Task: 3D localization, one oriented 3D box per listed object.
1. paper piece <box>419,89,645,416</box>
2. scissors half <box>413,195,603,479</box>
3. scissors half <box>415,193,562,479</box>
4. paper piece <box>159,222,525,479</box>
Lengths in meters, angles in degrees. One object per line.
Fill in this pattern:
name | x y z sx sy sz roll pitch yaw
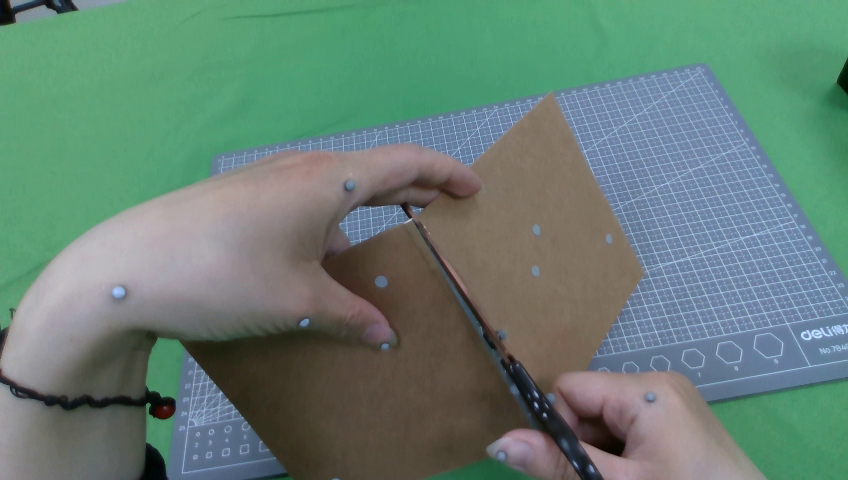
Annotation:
paper piece | 0.072 0.005 0.333 0.004 0.136 0.135 -10 28 50
scissors half | 0.041 0.055 0.267 0.013 0.040 0.175 -30 85 -9
scissors half | 0.038 0.055 0.287 0.013 0.176 0.040 -29 11 -4
paper piece | -0.033 0.075 0.307 0.138 0.137 0.008 -30 24 6
